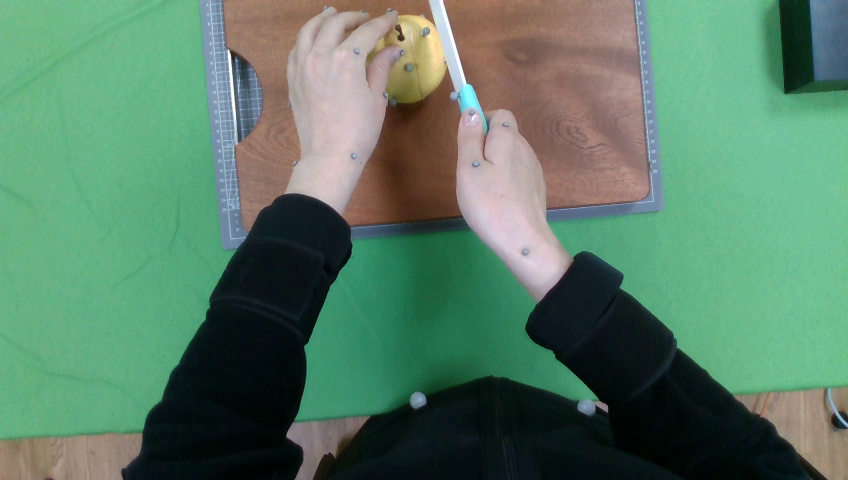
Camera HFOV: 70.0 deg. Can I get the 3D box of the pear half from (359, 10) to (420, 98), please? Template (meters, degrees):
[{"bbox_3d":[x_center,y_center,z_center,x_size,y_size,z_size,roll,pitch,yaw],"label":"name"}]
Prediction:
[{"bbox_3d":[-0.031,-0.168,0.537,0.056,0.110,0.076,-13,83,1],"label":"pear half"}]

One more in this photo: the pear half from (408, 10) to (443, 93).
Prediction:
[{"bbox_3d":[0.003,-0.173,0.546,0.031,0.088,0.070,-11,82,-1],"label":"pear half"}]

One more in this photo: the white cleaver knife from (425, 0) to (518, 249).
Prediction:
[{"bbox_3d":[0.026,-0.131,0.473,0.021,0.065,0.287,-16,96,-1],"label":"white cleaver knife"}]
